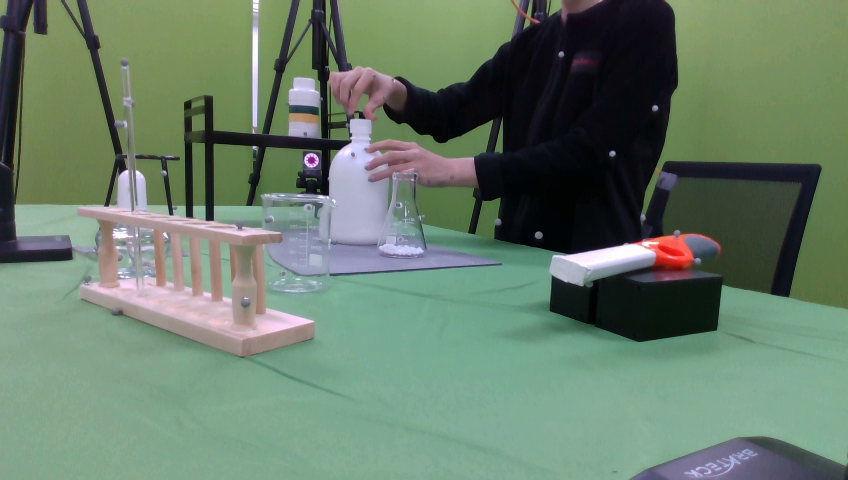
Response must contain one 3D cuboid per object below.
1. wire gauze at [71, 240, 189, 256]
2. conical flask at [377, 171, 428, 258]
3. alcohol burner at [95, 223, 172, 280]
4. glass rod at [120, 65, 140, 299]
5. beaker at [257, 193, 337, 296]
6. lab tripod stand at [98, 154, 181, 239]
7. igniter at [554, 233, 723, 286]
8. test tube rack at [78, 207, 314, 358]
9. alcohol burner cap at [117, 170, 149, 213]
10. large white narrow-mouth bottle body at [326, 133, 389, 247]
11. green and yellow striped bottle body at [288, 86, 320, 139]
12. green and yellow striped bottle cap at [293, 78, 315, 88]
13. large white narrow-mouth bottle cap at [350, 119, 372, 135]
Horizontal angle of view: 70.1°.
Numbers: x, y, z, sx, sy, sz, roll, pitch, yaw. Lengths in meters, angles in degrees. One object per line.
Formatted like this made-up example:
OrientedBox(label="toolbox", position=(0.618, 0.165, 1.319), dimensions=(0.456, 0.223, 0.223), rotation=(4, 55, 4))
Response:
OrientedBox(label="wire gauze", position=(-0.399, 0.013, 0.820), dimensions=(0.126, 0.011, 0.121), rotation=(-3, 8, -37))
OrientedBox(label="conical flask", position=(-0.029, -0.037, 0.875), dimensions=(0.075, 0.122, 0.075), rotation=(2, 7, 0))
OrientedBox(label="alcohol burner", position=(-0.320, -0.016, 0.667), dimensions=(0.078, 0.119, 0.078), rotation=(0, 7, 0))
OrientedBox(label="glass rod", position=(-0.249, -0.047, 0.513), dimensions=(0.008, 0.199, 0.008), rotation=(-1, 4, 0))
OrientedBox(label="beaker", position=(-0.130, 0.003, 0.628), dimensions=(0.084, 0.100, 0.074), rotation=(5, 8, 15))
OrientedBox(label="lab tripod stand", position=(-0.427, -0.066, 0.942), dimensions=(0.148, 0.131, 0.148), rotation=(1, 6, 0))
OrientedBox(label="igniter", position=(0.214, 0.015, 0.570), dimensions=(0.278, 0.025, 0.057), rotation=(-5, 22, -44))
OrientedBox(label="test tube rack", position=(-0.196, 0.023, 0.499), dimensions=(0.241, 0.085, 0.067), rotation=(8, 8, 37))
OrientedBox(label="alcohol burner cap", position=(-0.320, -0.052, 0.661), dimensions=(0.034, 0.048, 0.034), rotation=(-3, 0, 0))
OrientedBox(label="large white narrow-mouth bottle body", position=(-0.107, -0.091, 0.996), dimensions=(0.102, 0.194, 0.101), rotation=(4, 9, 0))
OrientedBox(label="green and yellow striped bottle body", position=(-0.250, -0.272, 1.261), dimensions=(0.063, 0.119, 0.063), rotation=(3, 7, 0))
OrientedBox(label="green and yellow striped bottle cap", position=(-0.248, -0.323, 1.256), dimensions=(0.045, 0.020, 0.045), rotation=(4, 8, 0))
OrientedBox(label="large white narrow-mouth bottle cap", position=(-0.102, -0.183, 0.979), dimensions=(0.038, 0.024, 0.037), rotation=(4, 9, 0))
